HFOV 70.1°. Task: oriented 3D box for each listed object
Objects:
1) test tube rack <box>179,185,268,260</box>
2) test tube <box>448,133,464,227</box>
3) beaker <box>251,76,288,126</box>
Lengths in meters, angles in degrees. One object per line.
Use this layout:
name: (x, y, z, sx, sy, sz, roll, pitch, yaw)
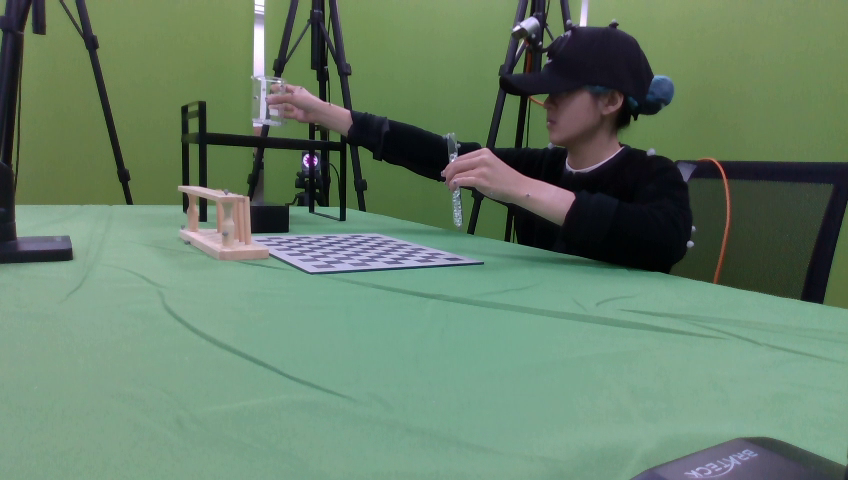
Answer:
test tube rack: (-0.303, -0.031, 0.898, 0.067, 0.085, 0.241, -2, 9, -33)
test tube: (0.051, -0.095, 0.963, 0.017, 0.150, 0.017, -5, 5, 1)
beaker: (-0.342, -0.302, 1.321, 0.073, 0.100, 0.084, 13, 11, 39)
